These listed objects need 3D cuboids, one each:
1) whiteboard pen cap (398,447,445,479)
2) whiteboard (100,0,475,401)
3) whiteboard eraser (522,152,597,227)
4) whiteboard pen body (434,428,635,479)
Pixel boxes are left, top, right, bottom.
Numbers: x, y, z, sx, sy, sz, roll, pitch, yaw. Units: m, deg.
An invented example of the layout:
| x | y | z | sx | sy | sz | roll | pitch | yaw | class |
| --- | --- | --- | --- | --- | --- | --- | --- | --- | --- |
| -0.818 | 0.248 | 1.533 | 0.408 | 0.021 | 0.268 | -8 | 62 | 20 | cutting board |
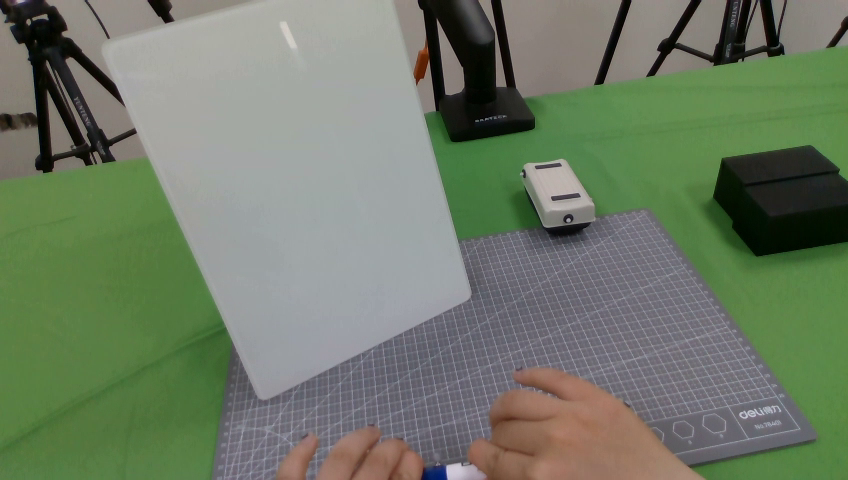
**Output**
| x | y | z | sx | sy | sz | roll | pitch | yaw | class |
| --- | --- | --- | --- | --- | --- | --- | --- | --- | --- |
| -0.003 | 0.145 | 0.371 | 0.018 | 0.018 | 0.033 | 26 | 61 | 34 | whiteboard pen cap |
| -0.111 | -0.057 | 0.550 | 0.217 | 0.307 | 0.142 | -24 | 23 | -18 | whiteboard |
| 0.148 | -0.056 | 0.672 | 0.055 | 0.042 | 0.111 | -10 | 36 | 0 | whiteboard eraser |
| 0.058 | 0.134 | 0.371 | 0.141 | 0.017 | 0.017 | -11 | 39 | 4 | whiteboard pen body |
